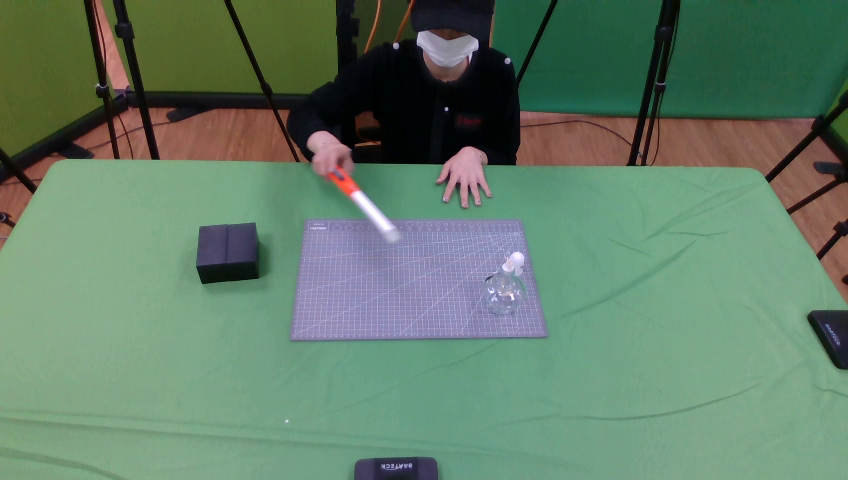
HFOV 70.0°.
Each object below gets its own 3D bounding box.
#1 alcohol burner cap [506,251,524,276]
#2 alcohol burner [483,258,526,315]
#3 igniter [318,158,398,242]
[{"bbox_3d":[0.175,0.043,1.151,0.034,0.048,0.033,1,46,-1],"label":"alcohol burner cap"},{"bbox_3d":[0.143,0.076,1.067,0.078,0.120,0.077,1,45,-1],"label":"alcohol burner"},{"bbox_3d":[-0.120,-0.077,1.037,0.025,0.057,0.274,-37,45,-8],"label":"igniter"}]
